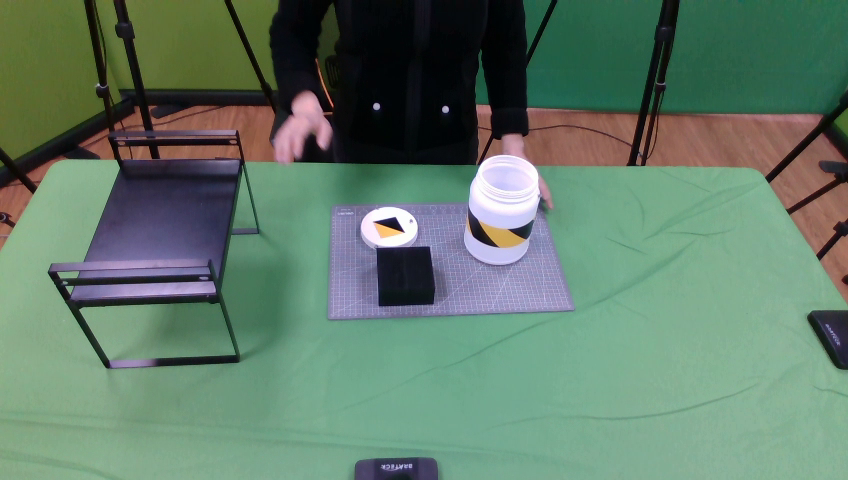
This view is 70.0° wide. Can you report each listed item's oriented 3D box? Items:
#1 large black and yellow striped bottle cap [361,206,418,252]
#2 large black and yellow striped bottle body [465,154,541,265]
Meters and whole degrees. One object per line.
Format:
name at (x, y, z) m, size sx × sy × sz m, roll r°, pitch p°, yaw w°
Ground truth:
large black and yellow striped bottle cap at (-0.068, -0.024, 1.214) m, size 0.115 × 0.019 × 0.114 m, roll 1°, pitch 47°, yaw -1°
large black and yellow striped bottle body at (0.149, -0.058, 1.146) m, size 0.131 × 0.185 × 0.130 m, roll 2°, pitch 46°, yaw -2°
